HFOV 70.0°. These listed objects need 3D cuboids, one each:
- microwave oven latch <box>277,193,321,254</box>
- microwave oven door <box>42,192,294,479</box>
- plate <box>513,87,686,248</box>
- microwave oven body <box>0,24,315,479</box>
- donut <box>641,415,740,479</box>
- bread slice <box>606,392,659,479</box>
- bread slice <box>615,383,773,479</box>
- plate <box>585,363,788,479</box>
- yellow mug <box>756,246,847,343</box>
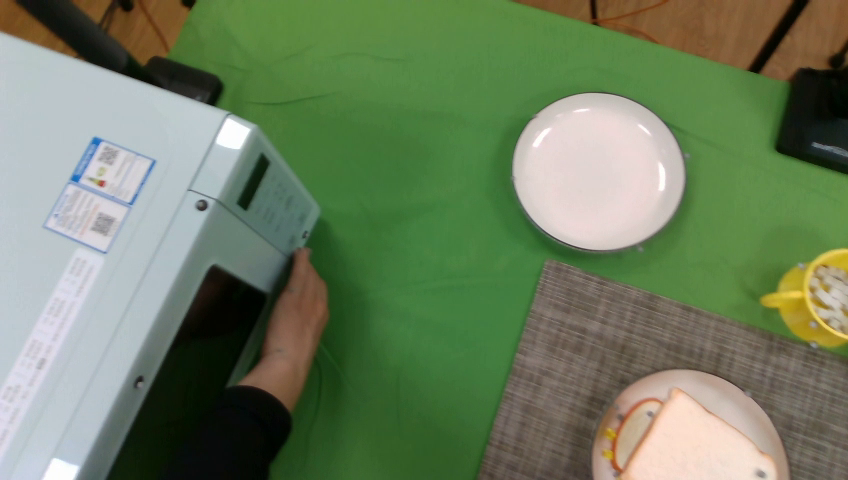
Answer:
[{"bbox_3d":[-0.156,-0.024,0.741,0.030,0.029,0.079,27,79,10],"label":"microwave oven latch"},{"bbox_3d":[-0.249,0.148,0.599,0.039,0.245,0.354,21,78,10],"label":"microwave oven door"},{"bbox_3d":[0.213,-0.088,0.752,0.207,0.039,0.206,-1,76,4],"label":"plate"},{"bbox_3d":[-0.367,0.060,0.635,0.325,0.261,0.440,21,78,9],"label":"microwave oven body"},{"bbox_3d":[0.276,0.234,0.631,0.099,0.048,0.098,-1,74,3],"label":"donut"},{"bbox_3d":[0.267,0.234,0.661,0.131,0.019,0.104,32,80,12],"label":"bread slice"},{"bbox_3d":[0.274,0.220,0.603,0.134,0.018,0.107,30,86,5],"label":"bread slice"},{"bbox_3d":[0.279,0.240,0.658,0.209,0.038,0.208,-1,76,4],"label":"plate"},{"bbox_3d":[0.445,0.063,0.681,0.131,0.064,0.099,-1,74,5],"label":"yellow mug"}]
